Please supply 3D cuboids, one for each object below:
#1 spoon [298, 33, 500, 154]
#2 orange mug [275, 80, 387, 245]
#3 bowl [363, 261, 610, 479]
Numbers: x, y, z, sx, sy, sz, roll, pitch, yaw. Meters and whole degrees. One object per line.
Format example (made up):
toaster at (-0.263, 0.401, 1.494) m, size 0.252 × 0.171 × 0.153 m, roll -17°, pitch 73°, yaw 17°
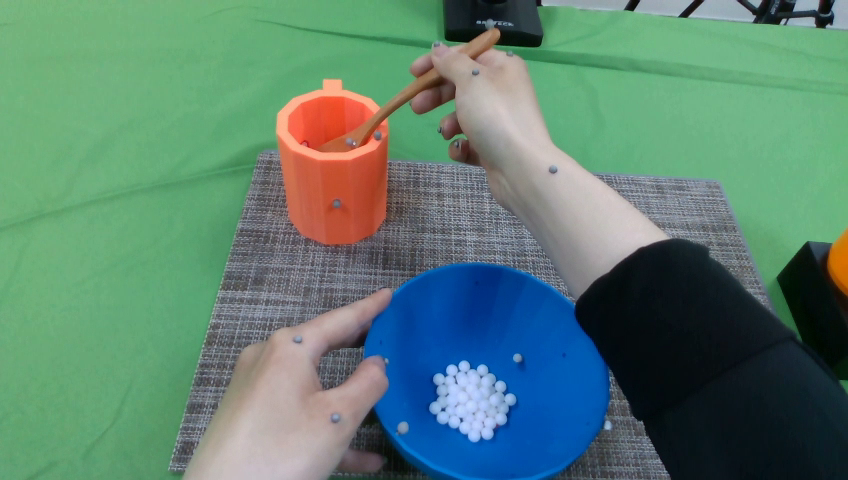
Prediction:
spoon at (-0.026, -0.098, 0.461) m, size 0.041 × 0.193 × 0.022 m, roll 64°, pitch 23°, yaw 9°
orange mug at (-0.077, -0.073, 0.511) m, size 0.083 × 0.101 × 0.125 m, roll -3°, pitch 55°, yaw -8°
bowl at (0.035, 0.096, 0.393) m, size 0.151 × 0.077 × 0.150 m, roll 3°, pitch 49°, yaw -4°
